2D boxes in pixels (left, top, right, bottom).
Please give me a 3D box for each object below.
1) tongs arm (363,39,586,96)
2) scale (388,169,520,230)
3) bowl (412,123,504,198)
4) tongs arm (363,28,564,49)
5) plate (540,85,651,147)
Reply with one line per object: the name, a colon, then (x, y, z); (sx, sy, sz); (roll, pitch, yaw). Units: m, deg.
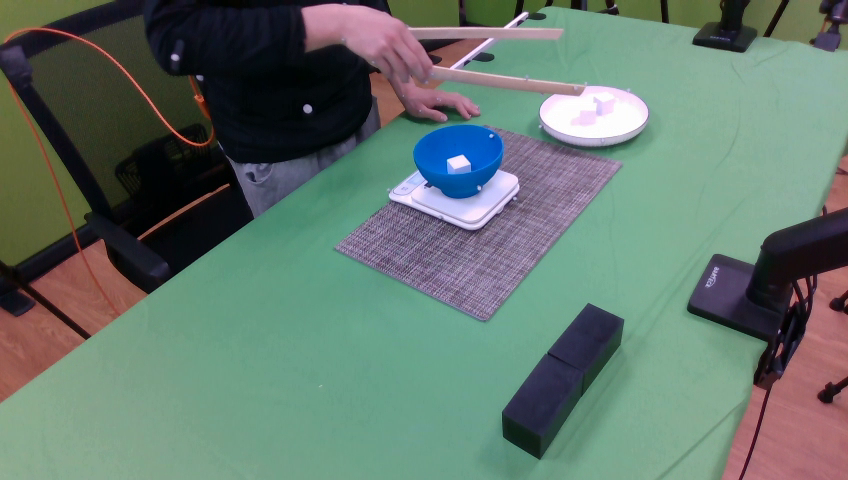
tongs arm: (0.092, -0.282, 1.001); (0.387, 0.026, 0.050); (1, 63, -19)
scale: (0.050, -0.090, 1.052); (0.199, 0.032, 0.149); (24, 49, 31)
bowl: (0.060, -0.123, 1.007); (0.151, 0.077, 0.150); (-5, 41, 5)
tongs arm: (0.078, -0.346, 1.033); (0.390, 0.027, 0.028); (-9, 70, -24)
plate: (0.333, -0.239, 1.186); (0.207, 0.039, 0.206); (-4, 41, 4)
